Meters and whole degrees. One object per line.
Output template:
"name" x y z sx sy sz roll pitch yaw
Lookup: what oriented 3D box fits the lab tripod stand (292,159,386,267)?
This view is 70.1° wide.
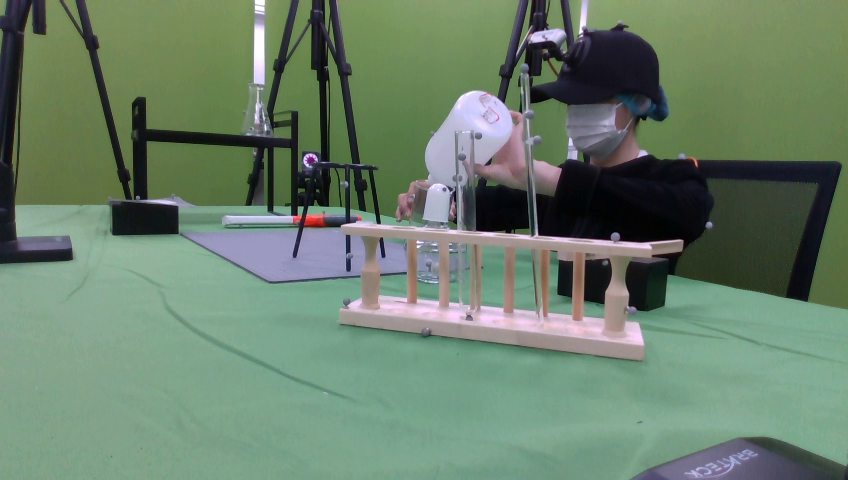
"lab tripod stand" -0.105 -0.039 0.798 0.148 0.131 0.148 2 5 0

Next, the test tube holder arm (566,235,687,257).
"test tube holder arm" 0.215 0.006 0.630 0.179 0.015 0.013 -3 9 -30

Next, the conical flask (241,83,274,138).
"conical flask" -0.384 -0.297 1.393 0.075 0.122 0.075 2 7 0

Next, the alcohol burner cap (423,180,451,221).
"alcohol burner cap" 0.017 -0.047 0.711 0.034 0.048 0.034 8 5 0

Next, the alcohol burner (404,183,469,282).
"alcohol burner" 0.015 -0.011 0.715 0.078 0.119 0.078 0 7 0

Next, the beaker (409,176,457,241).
"beaker" 0.015 -0.053 1.061 0.074 0.100 0.083 -5 24 -36

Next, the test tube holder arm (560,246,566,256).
"test tube holder arm" 0.173 0.007 0.611 0.088 0.015 0.010 -3 9 -30

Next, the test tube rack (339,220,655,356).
"test tube rack" 0.056 0.032 0.495 0.242 0.085 0.067 4 7 15

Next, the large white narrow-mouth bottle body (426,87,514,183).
"large white narrow-mouth bottle body" 0.059 -0.150 0.977 0.102 0.101 0.194 -2 -27 -27

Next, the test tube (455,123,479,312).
"test tube" 0.034 -0.016 0.476 0.017 0.150 0.017 -2 10 1

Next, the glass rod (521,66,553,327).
"glass rod" 0.085 -0.028 0.454 0.008 0.199 0.008 -7 10 2

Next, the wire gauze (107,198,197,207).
"wire gauze" -0.462 -0.064 1.023 0.126 0.011 0.121 -2 7 -32

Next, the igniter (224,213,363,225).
"igniter" -0.255 -0.041 1.210 0.278 0.025 0.057 -2 -2 -31

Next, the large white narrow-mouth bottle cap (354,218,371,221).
"large white narrow-mouth bottle cap" -0.120 -0.029 1.184 0.038 0.024 0.037 2 8 0
